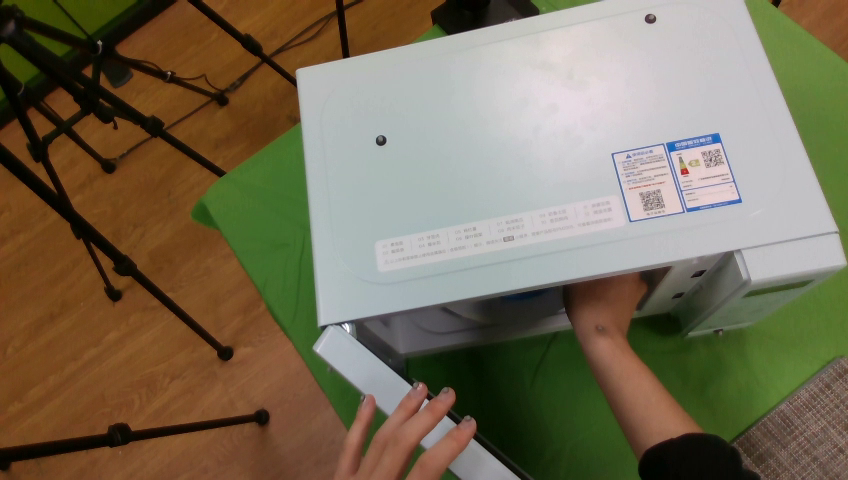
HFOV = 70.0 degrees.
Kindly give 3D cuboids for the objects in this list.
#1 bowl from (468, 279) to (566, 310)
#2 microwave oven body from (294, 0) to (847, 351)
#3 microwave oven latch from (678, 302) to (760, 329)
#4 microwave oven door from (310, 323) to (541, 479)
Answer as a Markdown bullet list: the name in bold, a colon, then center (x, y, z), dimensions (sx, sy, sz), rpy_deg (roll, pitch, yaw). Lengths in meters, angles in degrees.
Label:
- **bowl**: center (0.093, 0.013, 0.673), dimensions (0.151, 0.077, 0.150), rpy_deg (-3, 68, 7)
- **microwave oven body**: center (0.122, -0.054, 0.660), dimensions (0.441, 0.262, 0.323), rpy_deg (-11, 70, 6)
- **microwave oven latch**: center (0.332, 0.080, 0.684), dimensions (0.079, 0.030, 0.030), rpy_deg (-9, 70, 7)
- **microwave oven door**: center (0.063, 0.212, 0.572), dimensions (0.353, 0.245, 0.039), rpy_deg (36, 80, 18)
